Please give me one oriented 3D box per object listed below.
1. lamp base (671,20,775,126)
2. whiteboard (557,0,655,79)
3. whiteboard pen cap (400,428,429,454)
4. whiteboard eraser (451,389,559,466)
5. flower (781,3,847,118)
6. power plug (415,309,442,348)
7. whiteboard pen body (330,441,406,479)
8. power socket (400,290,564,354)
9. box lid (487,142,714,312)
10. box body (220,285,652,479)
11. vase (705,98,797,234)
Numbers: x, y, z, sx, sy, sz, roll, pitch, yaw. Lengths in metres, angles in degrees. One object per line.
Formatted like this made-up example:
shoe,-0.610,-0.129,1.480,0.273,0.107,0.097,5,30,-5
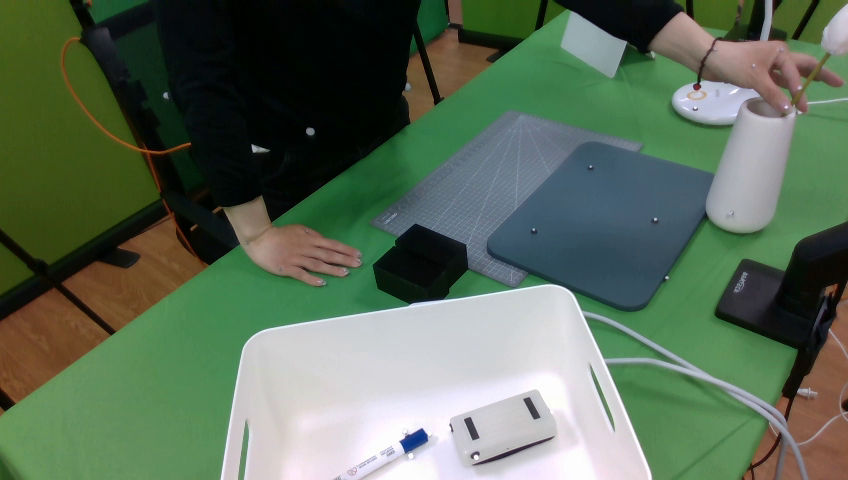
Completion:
lamp base,0.581,-0.332,1.154,0.179,0.181,0.160,2,42,7
whiteboard,0.462,-0.542,1.366,0.145,0.306,0.215,-3,36,-25
whiteboard pen cap,-0.012,0.232,0.695,0.033,0.018,0.018,-24,43,-20
whiteboard eraser,0.090,0.213,0.682,0.113,0.042,0.055,-17,39,-8
flower,0.481,-0.157,0.824,0.044,0.363,0.038,-10,56,-10
power plug,0.004,0.121,0.786,0.035,0.053,0.072,1,45,8
whiteboard pen body,-0.063,0.254,0.677,0.141,0.017,0.017,-24,43,-22
power socket,0.079,0.111,0.823,0.227,0.033,0.072,-6,41,1
box lid,0.298,-0.041,0.986,0.261,0.015,0.372,23,49,30
box body,0.005,0.211,0.616,0.364,0.161,0.252,-9,40,-2
vase,0.480,-0.104,0.888,0.098,0.201,0.097,-4,42,4
